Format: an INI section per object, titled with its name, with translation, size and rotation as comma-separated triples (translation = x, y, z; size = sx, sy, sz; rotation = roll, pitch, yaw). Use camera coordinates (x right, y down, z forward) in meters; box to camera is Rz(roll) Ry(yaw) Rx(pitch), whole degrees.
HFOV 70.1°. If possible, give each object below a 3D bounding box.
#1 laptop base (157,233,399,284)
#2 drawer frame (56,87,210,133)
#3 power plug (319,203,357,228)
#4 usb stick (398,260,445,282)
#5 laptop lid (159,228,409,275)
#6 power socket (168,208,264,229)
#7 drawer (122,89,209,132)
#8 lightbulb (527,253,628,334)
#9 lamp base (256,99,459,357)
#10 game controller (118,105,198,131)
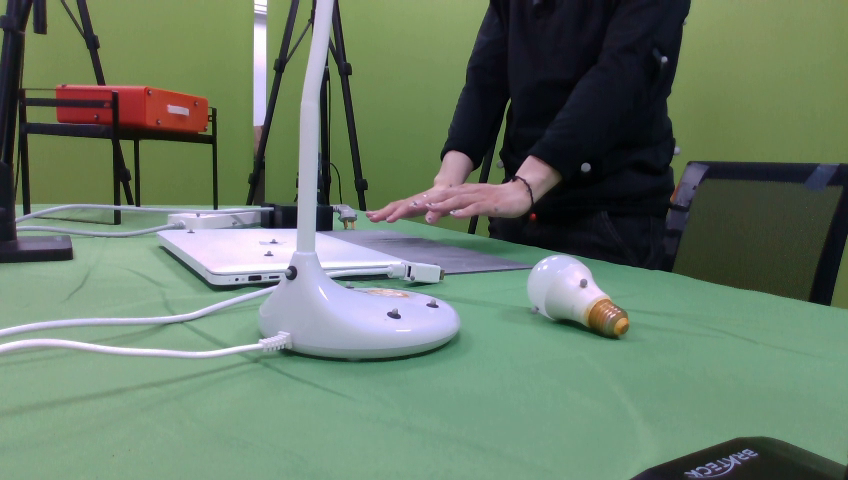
[laptop base]
translation = -0.204, 0.019, 0.806
size = 0.237, 0.023, 0.352
rotation = 0, 7, -33
[drawer frame]
translation = -0.598, -0.269, 1.261
size = 0.213, 0.082, 0.202
rotation = 4, 8, 14
[power plug]
translation = -0.170, -0.046, 1.209
size = 0.073, 0.052, 0.035
rotation = -6, -17, -9
[usb stick]
translation = -0.001, 0.036, 0.696
size = 0.027, 0.021, 0.059
rotation = 7, -1, 43
[laptop lid]
translation = -0.201, 0.007, 0.806
size = 0.243, 0.013, 0.355
rotation = -1, 8, -31
[power socket]
translation = -0.381, -0.038, 1.128
size = 0.072, 0.032, 0.227
rotation = 4, 8, 16
[drawer]
translation = -0.595, -0.268, 1.263
size = 0.211, 0.073, 0.195
rotation = 4, 8, 15
[lightbulb]
translation = 0.137, 0.050, 0.535
size = 0.060, 0.059, 0.107
rotation = -3, 24, -33
[lamp base]
translation = -0.055, -0.013, 0.463
size = 0.160, 0.180, 0.180
rotation = 6, 11, 27
[game controller]
translation = -0.554, -0.253, 1.254
size = 0.097, 0.051, 0.155
rotation = 6, 11, 19
